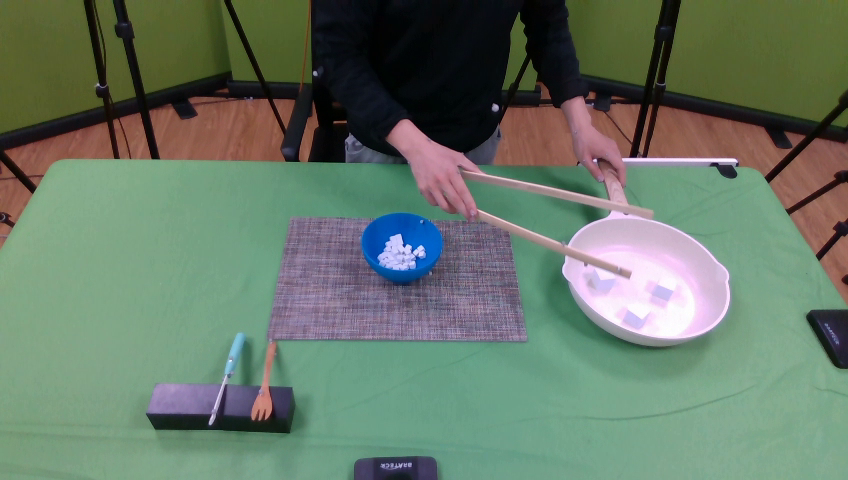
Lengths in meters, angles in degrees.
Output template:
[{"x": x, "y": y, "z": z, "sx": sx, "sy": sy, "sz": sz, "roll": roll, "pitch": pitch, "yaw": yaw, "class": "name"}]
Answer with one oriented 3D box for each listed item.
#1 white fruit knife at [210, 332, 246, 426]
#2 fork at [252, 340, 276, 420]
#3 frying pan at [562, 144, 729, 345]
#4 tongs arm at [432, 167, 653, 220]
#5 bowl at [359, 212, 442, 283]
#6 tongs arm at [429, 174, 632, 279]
[{"x": -0.301, "y": 0.206, "z": 0.930, "sx": 0.016, "sy": 0.027, "sz": 0.206, "roll": 5, "pitch": 29, "yaw": -7, "class": "white fruit knife"}, {"x": -0.242, "y": 0.211, "z": 0.932, "sx": 0.028, "sy": 0.019, "sz": 0.206, "roll": -8, "pitch": 27, "yaw": -5, "class": "fork"}, {"x": 0.396, "y": -0.008, "z": 1.179, "sx": 0.307, "sy": 0.103, "sz": 0.484, "roll": 1, "pitch": 55, "yaw": -4, "class": "frying pan"}, {"x": 0.201, "y": -0.082, "z": 1.066, "sx": 0.387, "sy": 0.028, "sz": 0.028, "roll": 13, "pitch": 67, "yaw": 14, "class": "tongs arm"}, {"x": -0.044, "y": 0.026, "z": 1.125, "sx": 0.151, "sy": 0.077, "sz": 0.150, "roll": 2, "pitch": 46, "yaw": -2, "class": "bowl"}, {"x": 0.172, "y": -0.028, "z": 1.037, "sx": 0.383, "sy": 0.026, "sz": 0.050, "roll": 22, "pitch": 66, "yaw": 19, "class": "tongs arm"}]
